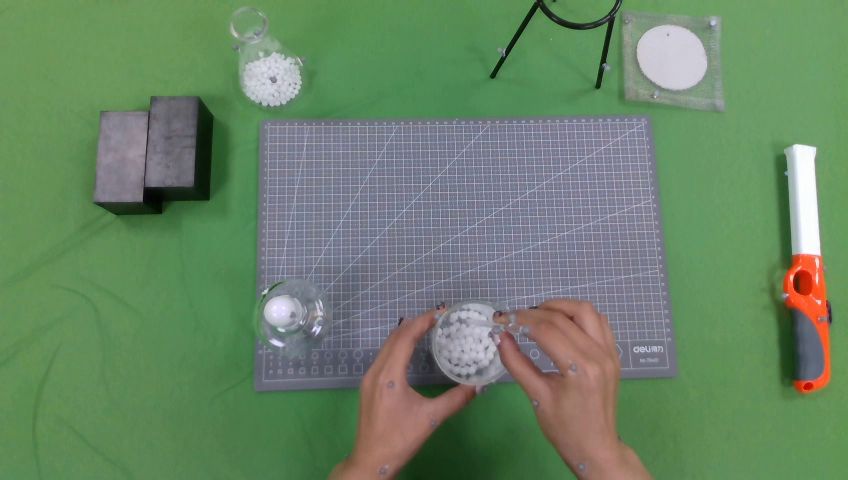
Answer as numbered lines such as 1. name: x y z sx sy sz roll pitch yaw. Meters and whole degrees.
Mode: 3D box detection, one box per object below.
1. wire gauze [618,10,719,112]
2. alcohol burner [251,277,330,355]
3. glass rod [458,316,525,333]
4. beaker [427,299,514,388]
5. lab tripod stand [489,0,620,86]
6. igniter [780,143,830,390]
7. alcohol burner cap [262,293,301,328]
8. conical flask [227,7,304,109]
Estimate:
1. wire gauze: 0.293 -0.217 0.724 0.125 0.011 0.121 5 79 -4
2. alcohol burner: -0.134 0.072 0.592 0.078 0.119 0.077 0 78 0
3. glass rod: 0.053 0.071 0.522 0.008 0.199 0.008 1 84 -9
4. beaker: 0.042 0.094 0.572 0.074 0.100 0.084 42 81 3
5. lab tripod stand: 0.145 -0.234 0.657 0.148 0.132 0.148 0 81 -2
6. igniter: 0.421 0.026 0.672 0.057 0.025 0.275 6 79 -12
7. alcohol burner cap: -0.132 0.064 0.556 0.034 0.048 0.034 1 83 -6
8. conical flask: -0.173 -0.195 0.640 0.075 0.122 0.075 0 78 -2
